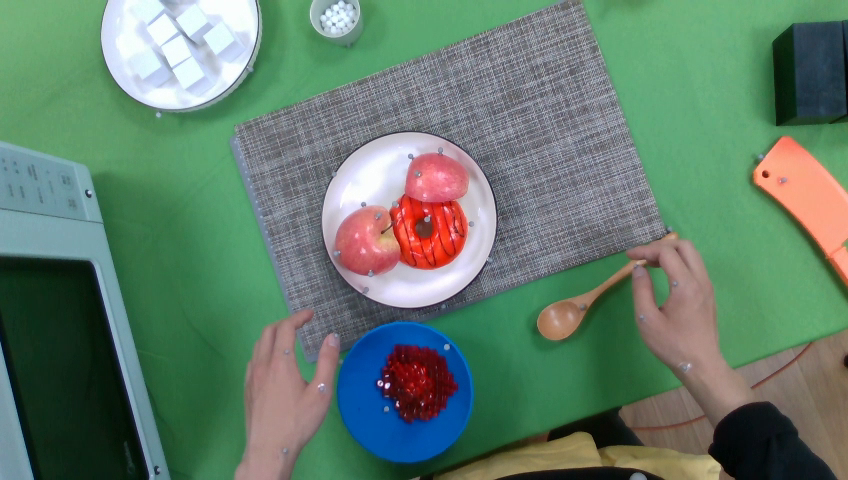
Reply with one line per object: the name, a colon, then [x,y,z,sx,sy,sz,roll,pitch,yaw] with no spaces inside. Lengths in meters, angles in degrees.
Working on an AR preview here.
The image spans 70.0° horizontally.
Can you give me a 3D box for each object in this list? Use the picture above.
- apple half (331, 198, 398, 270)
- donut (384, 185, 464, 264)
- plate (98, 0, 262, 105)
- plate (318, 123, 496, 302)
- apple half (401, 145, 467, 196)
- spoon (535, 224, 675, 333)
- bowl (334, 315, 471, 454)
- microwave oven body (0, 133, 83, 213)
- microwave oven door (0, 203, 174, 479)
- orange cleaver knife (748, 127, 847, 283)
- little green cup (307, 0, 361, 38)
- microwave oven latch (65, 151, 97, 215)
apple half: [-0.075,-0.004,0.685,0.074,0.053,0.080,-20,83,46]
donut: [-0.003,-0.021,0.698,0.099,0.048,0.099,0,90,6]
plate: [-0.299,-0.268,0.755,0.207,0.039,0.207,0,88,7]
plate: [-0.020,-0.032,0.711,0.209,0.038,0.209,0,88,7]
apple half: [0.012,-0.086,0.683,0.081,0.033,0.080,0,47,0]
spoon: [0.209,0.042,0.694,0.194,0.022,0.041,-37,70,4]
bowl: [-0.019,0.157,0.689,0.151,0.077,0.151,0,88,7]
microwave oven body: [-0.530,0.140,0.651,0.326,0.260,0.441,-17,87,5]
microwave oven door: [-0.380,0.137,0.629,0.039,0.244,0.355,-18,86,6]
orange cleaver knife: [0.445,-0.030,0.671,0.077,0.012,0.210,-35,83,-1]
little green cup: [-0.106,-0.276,0.733,0.061,0.039,0.061,0,88,7]
microwave oven latch: [-0.430,-0.068,0.744,0.030,0.029,0.079,-16,87,5]
